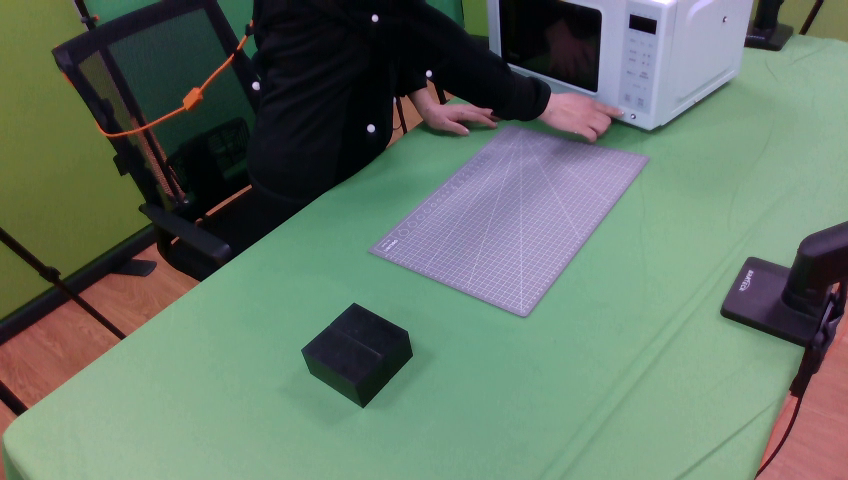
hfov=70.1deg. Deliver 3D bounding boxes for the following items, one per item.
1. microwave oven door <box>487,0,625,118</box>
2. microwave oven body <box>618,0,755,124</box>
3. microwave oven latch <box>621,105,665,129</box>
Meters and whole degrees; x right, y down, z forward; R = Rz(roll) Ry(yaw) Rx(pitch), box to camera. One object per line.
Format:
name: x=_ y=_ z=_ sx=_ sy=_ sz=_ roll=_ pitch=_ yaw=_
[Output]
microwave oven door: x=0.263 y=-0.410 z=1.222 sx=0.039 sy=0.245 sz=0.352 roll=-33 pitch=45 yaw=-25
microwave oven body: x=0.402 y=-0.458 z=1.259 sx=0.327 sy=0.261 sz=0.437 roll=-33 pitch=45 yaw=-24
microwave oven latch: x=0.413 y=-0.237 z=1.146 sx=0.030 sy=0.029 sz=0.078 roll=-31 pitch=44 yaw=-23
